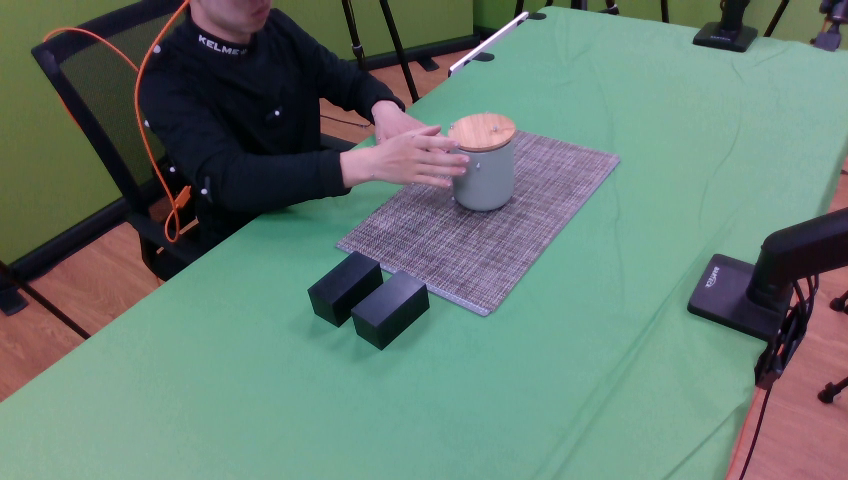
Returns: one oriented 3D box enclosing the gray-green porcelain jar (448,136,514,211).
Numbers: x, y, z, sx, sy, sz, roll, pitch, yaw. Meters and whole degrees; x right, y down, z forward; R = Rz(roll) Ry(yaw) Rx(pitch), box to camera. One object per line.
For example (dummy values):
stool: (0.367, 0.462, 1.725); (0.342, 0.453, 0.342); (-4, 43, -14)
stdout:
gray-green porcelain jar: (0.098, -0.120, 1.009); (0.106, 0.127, 0.105); (-4, 41, 4)

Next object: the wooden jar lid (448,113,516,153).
wooden jar lid: (0.092, -0.168, 0.967); (0.108, 0.021, 0.108); (-6, 39, 5)
